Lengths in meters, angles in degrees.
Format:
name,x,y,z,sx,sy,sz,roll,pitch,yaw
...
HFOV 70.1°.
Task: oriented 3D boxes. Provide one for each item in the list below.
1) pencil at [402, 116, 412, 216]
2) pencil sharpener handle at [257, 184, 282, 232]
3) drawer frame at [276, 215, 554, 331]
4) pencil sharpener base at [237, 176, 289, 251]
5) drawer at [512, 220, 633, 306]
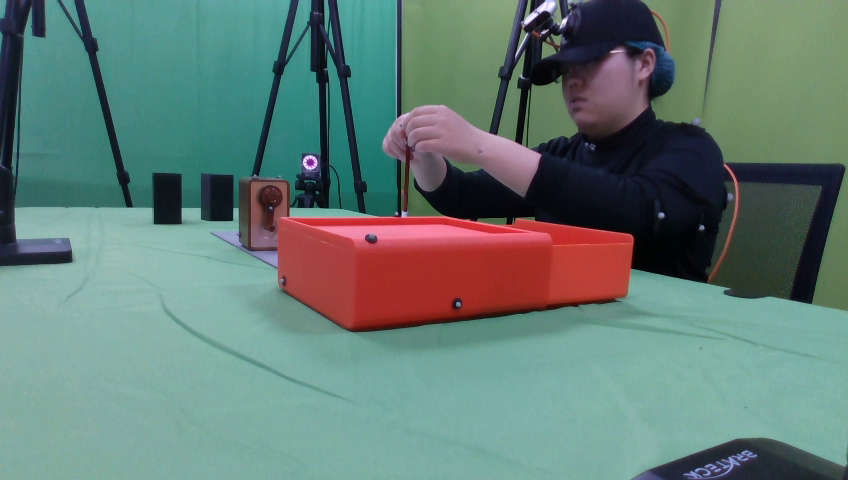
name,x,y,z,sx,sy,sz,roll,pitch,yaw
pencil,-0.029,-0.110,1.003,0.012,0.194,0.012,4,23,-1
pencil sharpener handle,-0.219,-0.046,0.865,0.036,0.067,0.030,6,5,-29
drawer frame,-0.015,0.022,0.610,0.215,0.082,0.200,-2,9,-32
pencil sharpener base,-0.243,-0.040,0.911,0.061,0.107,0.076,-1,8,-29
drawer,0.085,0.021,0.674,0.213,0.073,0.193,-2,9,-32
